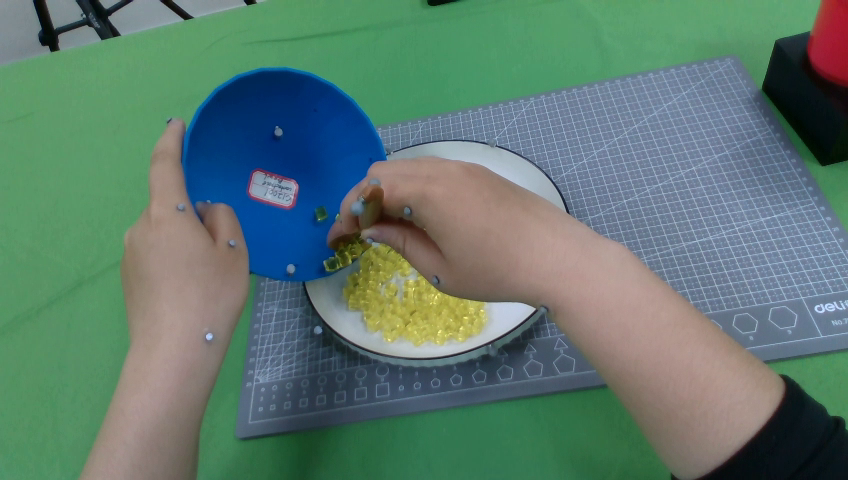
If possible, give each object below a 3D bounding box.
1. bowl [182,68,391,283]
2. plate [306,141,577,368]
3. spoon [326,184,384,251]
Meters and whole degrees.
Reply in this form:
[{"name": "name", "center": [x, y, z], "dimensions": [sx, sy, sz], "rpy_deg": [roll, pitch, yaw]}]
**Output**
[{"name": "bowl", "center": [-0.108, -0.042, 0.452], "dimensions": [0.076, 0.152, 0.151], "rpy_deg": [-7, 41, 56]}, {"name": "plate", "center": [0.012, 0.008, 0.470], "dimensions": [0.207, 0.039, 0.205], "rpy_deg": [-7, 52, 9]}, {"name": "spoon", "center": [-0.038, -0.012, 0.362], "dimensions": [0.041, 0.193, 0.021], "rpy_deg": [-35, 94, -12]}]
